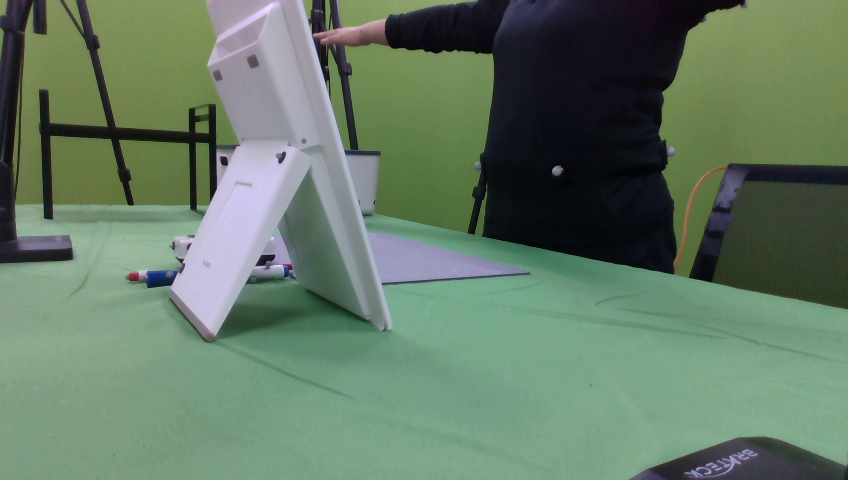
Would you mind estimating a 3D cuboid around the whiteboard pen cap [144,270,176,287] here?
[{"bbox_3d":[-0.271,0.039,0.627,0.033,0.018,0.018,-3,10,-33],"label":"whiteboard pen cap"}]

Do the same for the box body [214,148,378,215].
[{"bbox_3d":[-0.328,-0.154,1.543,0.366,0.160,0.253,-2,9,-32],"label":"box body"}]

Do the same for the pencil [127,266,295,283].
[{"bbox_3d":[-0.231,0.037,0.691,0.195,0.012,0.012,-2,9,-35],"label":"pencil"}]

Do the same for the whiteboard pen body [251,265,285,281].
[{"bbox_3d":[-0.220,0.039,0.656,0.141,0.017,0.017,-2,9,-31],"label":"whiteboard pen body"}]

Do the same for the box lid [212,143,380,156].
[{"bbox_3d":[-0.326,-0.227,1.533,0.373,0.015,0.262,-2,8,-32],"label":"box lid"}]

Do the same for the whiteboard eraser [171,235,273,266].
[{"bbox_3d":[-0.248,0.014,0.747,0.113,0.042,0.055,-1,10,-32],"label":"whiteboard eraser"}]

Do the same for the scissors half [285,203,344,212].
[{"bbox_3d":[-0.280,-0.082,1.552,0.040,0.013,0.176,1,9,45],"label":"scissors half"}]

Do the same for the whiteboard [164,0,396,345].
[{"bbox_3d":[-0.172,-0.053,0.511,0.144,0.305,0.216,-23,20,-26],"label":"whiteboard"}]

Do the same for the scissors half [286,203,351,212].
[{"bbox_3d":[-0.268,-0.079,1.535,0.176,0.013,0.040,-7,12,-23],"label":"scissors half"}]

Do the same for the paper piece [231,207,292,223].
[{"bbox_3d":[-0.395,-0.062,1.461,0.139,0.008,0.135,14,-4,-21],"label":"paper piece"}]
